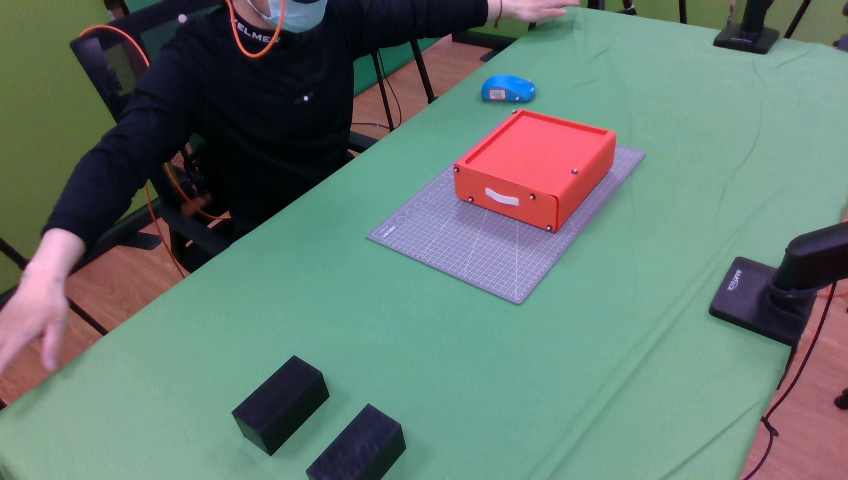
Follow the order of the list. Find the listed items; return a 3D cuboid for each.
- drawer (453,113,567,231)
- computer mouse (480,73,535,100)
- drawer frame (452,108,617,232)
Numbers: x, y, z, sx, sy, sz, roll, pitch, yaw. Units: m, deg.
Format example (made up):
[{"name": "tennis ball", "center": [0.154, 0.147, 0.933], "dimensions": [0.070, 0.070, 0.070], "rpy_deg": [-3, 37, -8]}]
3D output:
[{"name": "drawer", "center": [0.189, -0.126, 1.039], "dimensions": [0.193, 0.073, 0.212], "rpy_deg": [22, 48, 31]}, {"name": "computer mouse", "center": [0.183, -0.335, 1.320], "dimensions": [0.117, 0.041, 0.063], "rpy_deg": [11, 42, 14]}, {"name": "drawer frame", "center": [0.190, -0.128, 1.039], "dimensions": [0.200, 0.083, 0.214], "rpy_deg": [21, 47, 30]}]
